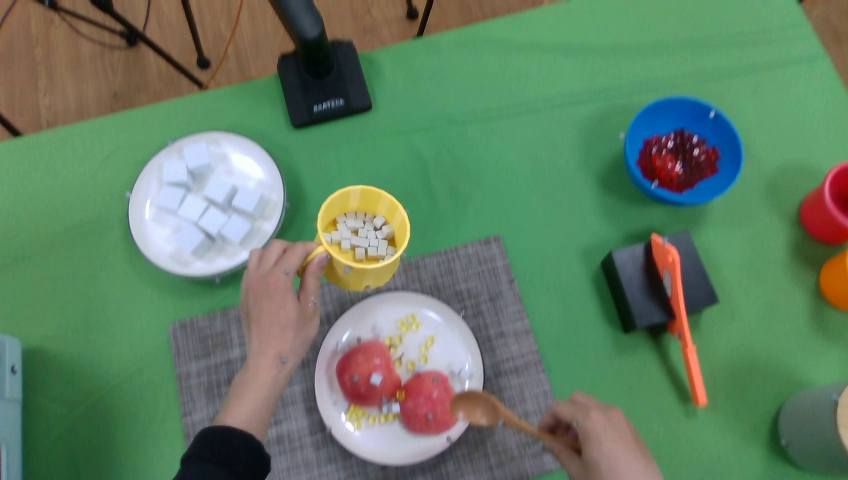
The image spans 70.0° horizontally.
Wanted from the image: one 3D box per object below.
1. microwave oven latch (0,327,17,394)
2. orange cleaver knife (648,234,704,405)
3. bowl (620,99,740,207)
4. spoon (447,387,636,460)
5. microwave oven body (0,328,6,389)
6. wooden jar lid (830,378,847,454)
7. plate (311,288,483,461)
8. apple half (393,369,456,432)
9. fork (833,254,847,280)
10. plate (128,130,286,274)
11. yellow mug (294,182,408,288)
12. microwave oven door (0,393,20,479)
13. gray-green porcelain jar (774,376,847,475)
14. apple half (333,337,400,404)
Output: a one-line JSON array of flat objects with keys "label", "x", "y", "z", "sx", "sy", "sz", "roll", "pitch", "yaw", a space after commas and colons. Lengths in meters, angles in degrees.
[{"label": "microwave oven latch", "x": -0.516, "y": 0.148, "z": 0.738, "sx": 0.030, "sy": 0.029, "sz": 0.078, "roll": -11, "pitch": 72, "yaw": -4}, {"label": "orange cleaver knife", "x": 0.308, "y": 0.096, "z": 0.748, "sx": 0.012, "sy": 0.077, "sz": 0.211, "roll": -14, "pitch": 95, "yaw": 0}, {"label": "bowl", "x": 0.332, "y": -0.105, "z": 0.817, "sx": 0.151, "sy": 0.077, "sz": 0.150, "roll": 0, "pitch": 72, "yaw": 1}, {"label": "spoon", "x": 0.116, "y": 0.191, "z": 0.617, "sx": 0.193, "sy": 0.021, "sz": 0.042, "roll": 16, "pitch": 116, "yaw": 19}, {"label": "microwave oven body", "x": -0.626, "y": 0.309, "z": 0.583, "sx": 0.326, "sy": 0.261, "sz": 0.438, "roll": -11, "pitch": 72, "yaw": -4}, {"label": "wooden jar lid", "x": 0.473, "y": 0.190, "z": 0.625, "sx": 0.108, "sy": 0.021, "sz": 0.107, "roll": -1, "pitch": 71, "yaw": 3}, {"label": "plate", "x": -0.033, "y": 0.163, "z": 0.747, "sx": 0.209, "sy": 0.038, "sz": 0.208, "roll": 0, "pitch": 72, "yaw": 0}, {"label": "apple half", "x": 0.000, "y": 0.193, "z": 0.730, "sx": 0.081, "sy": 0.033, "sz": 0.080, "roll": 0, "pitch": 67, "yaw": 1}, {"label": "fork", "x": 0.551, "y": 0.074, "z": 0.718, "sx": 0.028, "sy": 0.019, "sz": 0.205, "roll": 1, "pitch": 28, "yaw": 0}, {"label": "plate", "x": -0.289, "y": -0.050, "z": 0.823, "sx": 0.208, "sy": 0.039, "sz": 0.206, "roll": 0, "pitch": 71, "yaw": 0}, {"label": "yellow mug", "x": -0.084, "y": 0.002, "z": 0.662, "sx": 0.131, "sy": 0.064, "sz": 0.099, "roll": -31, "pitch": 76, "yaw": -24}, {"label": "microwave oven door", "x": -0.474, "y": 0.318, "z": 0.574, "sx": 0.039, "sy": 0.245, "sz": 0.353, "roll": -12, "pitch": 72, "yaw": -3}, {"label": "gray-green porcelain jar", "x": 0.474, "y": 0.211, "z": 0.686, "sx": 0.106, "sy": 0.127, "sz": 0.105, "roll": 0, "pitch": 71, "yaw": 0}, {"label": "apple half", "x": -0.072, "y": 0.157, "z": 0.733, "sx": 0.075, "sy": 0.053, "sz": 0.080, "roll": -17, "pitch": 72, "yaw": -3}]
